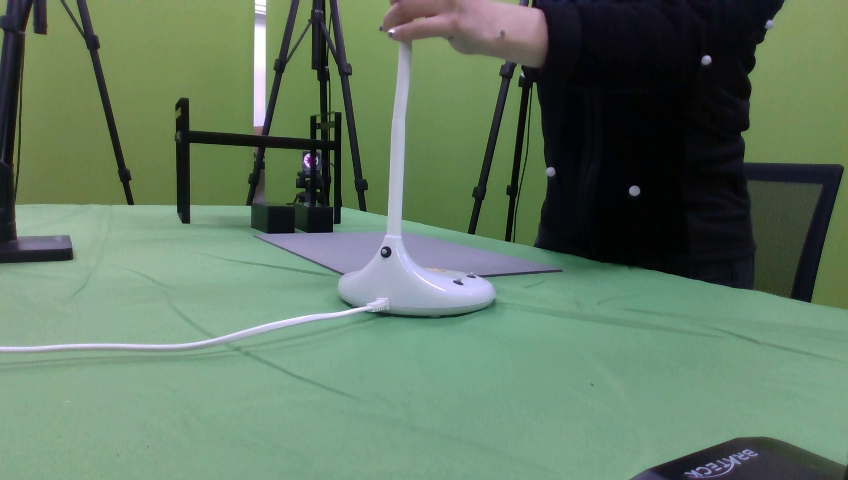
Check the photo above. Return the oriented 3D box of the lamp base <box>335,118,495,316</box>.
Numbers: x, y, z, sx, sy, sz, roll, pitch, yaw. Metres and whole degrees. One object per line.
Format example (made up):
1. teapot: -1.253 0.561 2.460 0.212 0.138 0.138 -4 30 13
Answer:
1. lamp base: -0.010 -0.026 0.589 0.160 0.180 0.179 4 10 14
